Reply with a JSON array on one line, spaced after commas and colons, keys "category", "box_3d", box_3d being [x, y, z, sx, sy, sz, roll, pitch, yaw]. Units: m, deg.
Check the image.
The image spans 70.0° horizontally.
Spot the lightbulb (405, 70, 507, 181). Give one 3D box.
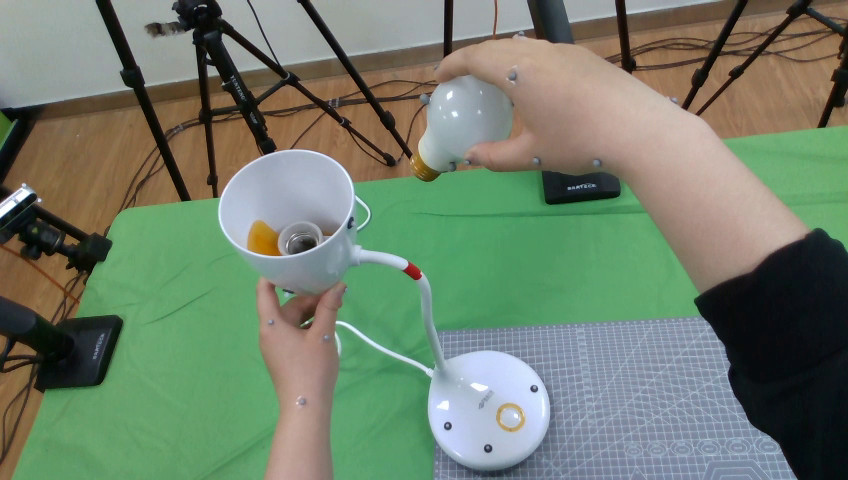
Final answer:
[{"category": "lightbulb", "box_3d": [0.017, -0.076, 0.438, 0.060, 0.108, 0.059, 14, 58, -24]}]

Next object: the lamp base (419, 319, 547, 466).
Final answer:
[{"category": "lamp base", "box_3d": [0.055, 0.169, 0.743, 0.178, 0.182, 0.160, 17, 59, 27]}]

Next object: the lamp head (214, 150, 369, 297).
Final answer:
[{"category": "lamp head", "box_3d": [-0.110, -0.002, 0.541, 0.112, 0.124, 0.111, -4, 57, 7]}]
